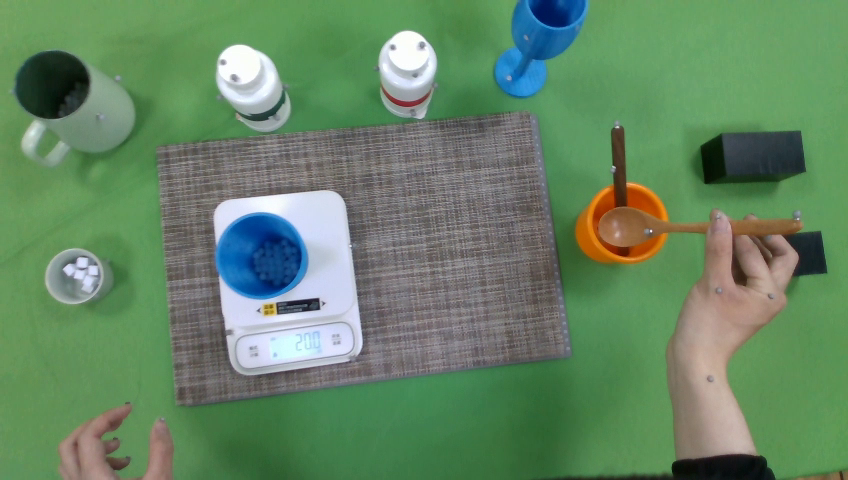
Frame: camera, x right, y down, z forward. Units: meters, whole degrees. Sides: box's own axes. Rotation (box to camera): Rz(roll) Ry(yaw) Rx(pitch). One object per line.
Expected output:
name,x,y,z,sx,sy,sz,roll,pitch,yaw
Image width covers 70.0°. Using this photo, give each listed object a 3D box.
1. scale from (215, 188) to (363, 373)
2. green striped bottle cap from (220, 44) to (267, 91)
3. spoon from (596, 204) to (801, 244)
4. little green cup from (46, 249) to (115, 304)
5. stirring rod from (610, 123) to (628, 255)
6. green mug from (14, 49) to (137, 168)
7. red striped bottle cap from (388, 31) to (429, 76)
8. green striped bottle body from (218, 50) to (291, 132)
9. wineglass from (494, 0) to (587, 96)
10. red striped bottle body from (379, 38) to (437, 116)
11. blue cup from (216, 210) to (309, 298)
scale,-0.154,0.045,0.691,0.149,0.031,0.200,-7,84,-4
green striped bottle cap,-0.185,-0.176,0.618,0.044,0.020,0.044,0,83,-2
spoon,0.238,-0.014,0.552,0.022,0.192,0.041,-7,96,-32
little green cup,-0.379,0.042,0.676,0.061,0.038,0.061,1,83,-5
stirring rod,0.219,-0.052,0.680,0.014,0.005,0.178,-20,127,-5
green mug,-0.387,-0.136,0.664,0.092,0.105,0.125,28,82,0
red striped bottle cap,-0.016,-0.196,0.635,0.044,0.018,0.044,1,81,-3
green striped bottle body,-0.188,-0.168,0.674,0.063,0.119,0.063,1,83,-4
wineglass,0.124,-0.223,0.675,0.074,0.172,0.073,0,83,-3
red striped bottle body,-0.019,-0.189,0.688,0.063,0.120,0.063,1,83,-4
blue cup,-0.158,0.018,0.629,0.093,0.100,0.092,0,85,-3
